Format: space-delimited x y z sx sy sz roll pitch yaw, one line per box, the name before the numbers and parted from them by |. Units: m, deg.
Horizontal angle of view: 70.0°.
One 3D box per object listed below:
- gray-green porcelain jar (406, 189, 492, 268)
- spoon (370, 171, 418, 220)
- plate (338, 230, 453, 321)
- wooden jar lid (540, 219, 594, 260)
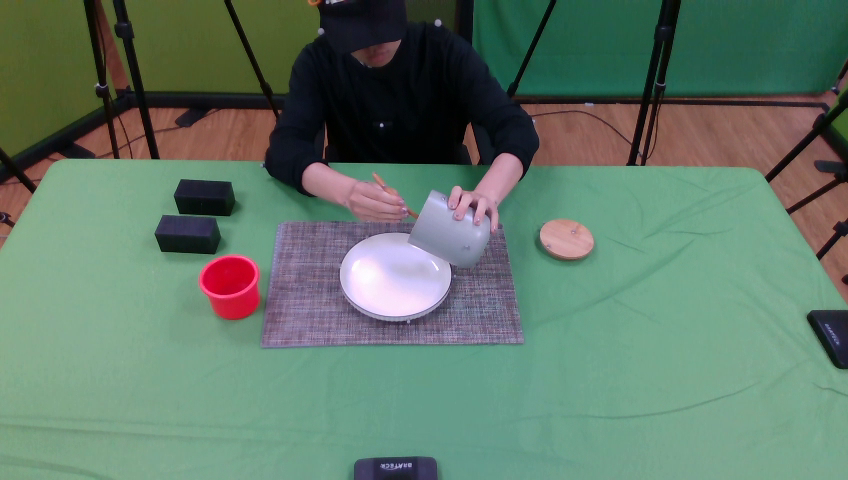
gray-green porcelain jar | 0.048 -0.016 1.062 0.126 0.106 0.105 25 48 -1
spoon | -0.025 -0.051 1.057 0.194 0.021 0.041 39 36 -16
plate | -0.052 0.068 1.111 0.208 0.039 0.206 2 46 -2
wooden jar lid | 0.286 0.001 1.218 0.108 0.021 0.107 1 46 -1
